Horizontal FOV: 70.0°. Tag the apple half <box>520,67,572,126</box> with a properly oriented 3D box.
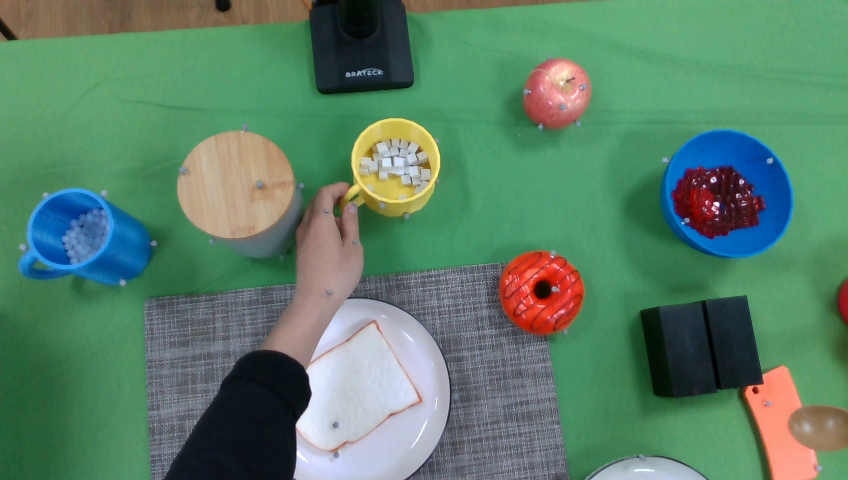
[{"bbox_3d":[0.137,-0.161,0.723,0.033,0.081,0.081,-39,84,-15],"label":"apple half"}]

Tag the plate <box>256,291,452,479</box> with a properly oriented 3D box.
[{"bbox_3d":[-0.074,0.161,0.662,0.208,0.039,0.206,1,80,-4],"label":"plate"}]

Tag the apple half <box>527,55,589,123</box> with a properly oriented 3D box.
[{"bbox_3d":[0.166,-0.186,0.732,0.053,0.075,0.080,-38,80,-16],"label":"apple half"}]

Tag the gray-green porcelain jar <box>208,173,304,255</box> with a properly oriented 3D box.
[{"bbox_3d":[-0.186,-0.043,0.649,0.106,0.127,0.105,1,79,-4],"label":"gray-green porcelain jar"}]

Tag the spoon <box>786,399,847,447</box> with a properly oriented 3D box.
[{"bbox_3d":[0.403,0.144,0.488,0.193,0.022,0.041,-15,52,32],"label":"spoon"}]

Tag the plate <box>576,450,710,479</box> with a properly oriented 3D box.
[{"bbox_3d":[0.238,0.334,0.658,0.209,0.038,0.208,1,79,-4],"label":"plate"}]

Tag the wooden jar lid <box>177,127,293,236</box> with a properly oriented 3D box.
[{"bbox_3d":[-0.182,-0.055,0.588,0.108,0.021,0.108,1,77,-4],"label":"wooden jar lid"}]

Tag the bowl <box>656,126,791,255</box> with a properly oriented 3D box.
[{"bbox_3d":[0.338,-0.050,0.717,0.151,0.077,0.150,1,80,-4],"label":"bowl"}]

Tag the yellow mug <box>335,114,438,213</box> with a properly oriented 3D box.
[{"bbox_3d":[-0.048,-0.077,0.698,0.131,0.064,0.099,-37,84,-9],"label":"yellow mug"}]

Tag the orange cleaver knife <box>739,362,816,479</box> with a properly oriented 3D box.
[{"bbox_3d":[0.416,0.249,0.699,0.077,0.012,0.210,-4,78,-11],"label":"orange cleaver knife"}]

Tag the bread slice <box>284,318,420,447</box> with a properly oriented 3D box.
[{"bbox_3d":[-0.084,0.163,0.662,0.131,0.019,0.104,-32,83,-11],"label":"bread slice"}]

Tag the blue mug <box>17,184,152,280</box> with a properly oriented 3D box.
[{"bbox_3d":[-0.362,0.003,0.636,0.116,0.106,0.082,-31,83,-9],"label":"blue mug"}]

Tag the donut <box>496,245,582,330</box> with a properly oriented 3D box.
[{"bbox_3d":[0.131,0.054,0.695,0.099,0.048,0.098,1,80,-5],"label":"donut"}]
